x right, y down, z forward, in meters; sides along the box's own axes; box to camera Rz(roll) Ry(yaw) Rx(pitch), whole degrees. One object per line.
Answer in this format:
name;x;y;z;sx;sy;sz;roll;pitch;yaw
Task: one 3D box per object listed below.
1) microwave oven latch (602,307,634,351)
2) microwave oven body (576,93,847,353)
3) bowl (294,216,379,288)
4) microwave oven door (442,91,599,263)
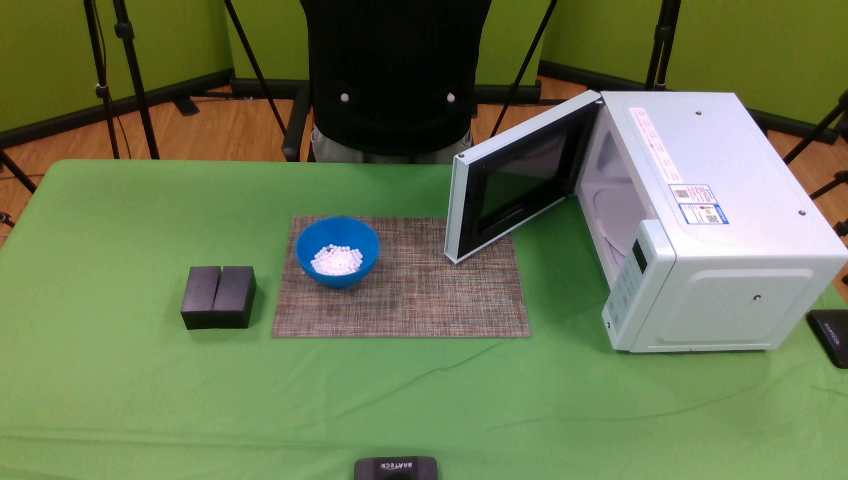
microwave oven latch;0.332;0.153;1.044;0.030;0.029;0.078;0;45;-4
microwave oven body;0.475;-0.041;1.109;0.326;0.261;0.438;-1;45;-4
bowl;-0.158;0.036;1.110;0.151;0.077;0.150;3;45;-2
microwave oven door;0.187;-0.123;1.160;0.356;0.245;0.039;-29;55;-28
